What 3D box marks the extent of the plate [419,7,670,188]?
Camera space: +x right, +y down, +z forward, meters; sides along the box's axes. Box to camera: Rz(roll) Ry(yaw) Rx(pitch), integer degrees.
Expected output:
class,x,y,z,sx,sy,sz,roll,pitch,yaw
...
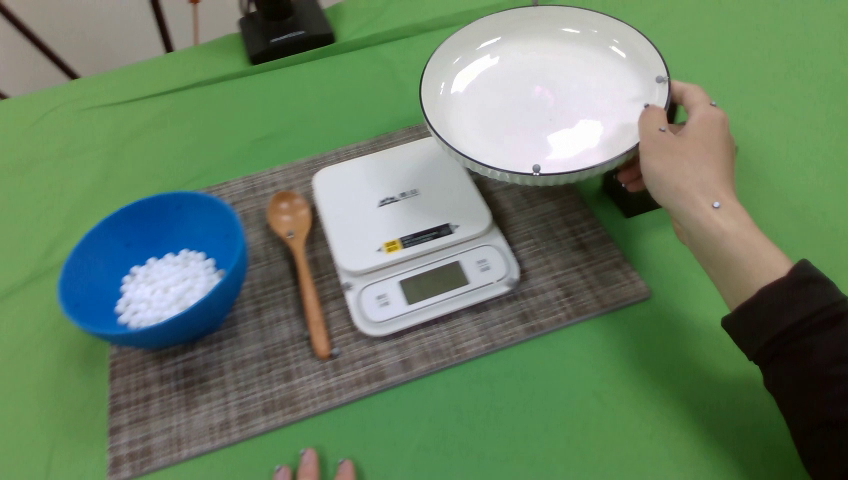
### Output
class,x,y,z,sx,sy,sz,roll,pitch,yaw
plate,0.100,-0.122,0.522,0.209,0.038,0.207,-3,56,5

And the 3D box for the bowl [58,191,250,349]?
class,x,y,z,sx,sy,sz,roll,pitch,yaw
bowl,-0.214,0.038,0.517,0.151,0.077,0.150,-4,49,5

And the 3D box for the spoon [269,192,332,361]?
class,x,y,z,sx,sy,sz,roll,pitch,yaw
spoon,-0.110,0.026,0.549,0.042,0.022,0.191,-7,47,-17

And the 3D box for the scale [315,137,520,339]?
class,x,y,z,sx,sy,sz,roll,pitch,yaw
scale,-0.013,-0.012,0.560,0.149,0.032,0.198,-19,50,-7
